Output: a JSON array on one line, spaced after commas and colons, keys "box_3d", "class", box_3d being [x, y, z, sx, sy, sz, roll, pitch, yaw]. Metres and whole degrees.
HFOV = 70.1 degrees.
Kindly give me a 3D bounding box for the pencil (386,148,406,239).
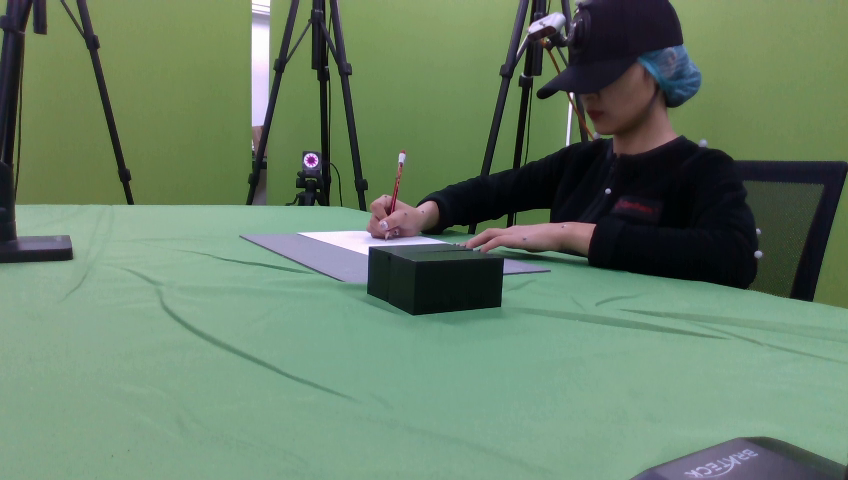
[{"box_3d": [-0.050, -0.084, 1.070, 0.012, 0.193, 0.012, 6, -29, 4], "class": "pencil"}]
